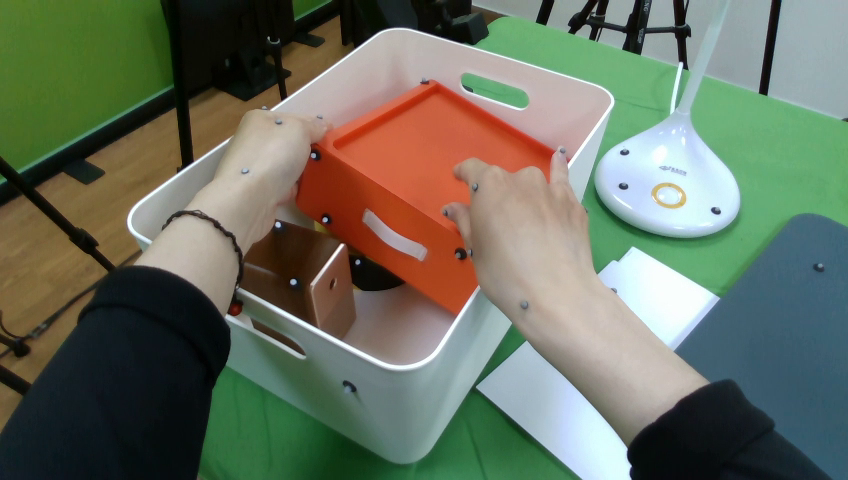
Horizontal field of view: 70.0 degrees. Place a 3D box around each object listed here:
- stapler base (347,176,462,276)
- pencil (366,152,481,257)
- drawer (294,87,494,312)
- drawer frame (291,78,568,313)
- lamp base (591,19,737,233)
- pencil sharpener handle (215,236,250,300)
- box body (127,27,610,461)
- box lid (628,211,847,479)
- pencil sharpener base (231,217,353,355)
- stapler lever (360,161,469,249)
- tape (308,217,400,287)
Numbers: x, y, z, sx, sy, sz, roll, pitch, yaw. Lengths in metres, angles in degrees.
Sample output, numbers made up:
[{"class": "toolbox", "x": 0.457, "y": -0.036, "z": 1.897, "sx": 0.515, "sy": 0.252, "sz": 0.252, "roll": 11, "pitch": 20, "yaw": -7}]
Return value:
[{"class": "stapler base", "x": -0.015, "y": -0.020, "z": 0.554, "sx": 0.129, "sy": 0.024, "sz": 0.041, "roll": 43, "pitch": 40, "yaw": 23}, {"class": "pencil", "x": -0.005, "y": -0.037, "z": 0.579, "sx": 0.012, "sy": 0.012, "sz": 0.192, "roll": -25, "pitch": 47, "yaw": -23}, {"class": "drawer", "x": 0.019, "y": -0.048, "z": 0.575, "sx": 0.194, "sy": 0.073, "sz": 0.211, "roll": 33, "pitch": 38, "yaw": 10}, {"class": "drawer frame", "x": 0.021, "y": -0.052, "z": 0.575, "sx": 0.201, "sy": 0.083, "sz": 0.213, "roll": 32, "pitch": 39, "yaw": 11}, {"class": "lamp base", "x": 0.275, "y": -0.128, "z": 0.646, "sx": 0.160, "sy": 0.182, "sz": 0.178, "roll": 8, "pitch": 44, "yaw": 7}, {"class": "pencil sharpener handle", "x": -0.161, "y": 0.024, "z": 0.512, "sx": 0.030, "sy": 0.068, "sz": 0.036, "roll": 17, "pitch": 16, "yaw": 16}, {"class": "box body", "x": -0.022, "y": -0.021, "z": 0.548, "sx": 0.252, "sy": 0.162, "sz": 0.363, "roll": 24, "pitch": 50, "yaw": 20}, {"class": "box lid", "x": 0.377, "y": 0.118, "z": 0.528, "sx": 0.371, "sy": 0.015, "sz": 0.261, "roll": -35, "pitch": 55, "yaw": -30}, {"class": "pencil sharpener base", "x": -0.110, "y": 0.043, "z": 0.515, "sx": 0.076, "sy": 0.108, "sz": 0.061, "roll": 16, "pitch": 48, "yaw": 16}, {"class": "stapler lever", "x": -0.008, "y": -0.038, "z": 0.539, "sx": 0.117, "sy": 0.040, "sz": 0.027, "roll": 44, "pitch": 40, "yaw": 22}, {"class": "tape", "x": -0.055, "y": -0.011, "z": 0.609, "sx": 0.117, "sy": 0.053, "sz": 0.115, "roll": -3, "pitch": 55, "yaw": 5}]
